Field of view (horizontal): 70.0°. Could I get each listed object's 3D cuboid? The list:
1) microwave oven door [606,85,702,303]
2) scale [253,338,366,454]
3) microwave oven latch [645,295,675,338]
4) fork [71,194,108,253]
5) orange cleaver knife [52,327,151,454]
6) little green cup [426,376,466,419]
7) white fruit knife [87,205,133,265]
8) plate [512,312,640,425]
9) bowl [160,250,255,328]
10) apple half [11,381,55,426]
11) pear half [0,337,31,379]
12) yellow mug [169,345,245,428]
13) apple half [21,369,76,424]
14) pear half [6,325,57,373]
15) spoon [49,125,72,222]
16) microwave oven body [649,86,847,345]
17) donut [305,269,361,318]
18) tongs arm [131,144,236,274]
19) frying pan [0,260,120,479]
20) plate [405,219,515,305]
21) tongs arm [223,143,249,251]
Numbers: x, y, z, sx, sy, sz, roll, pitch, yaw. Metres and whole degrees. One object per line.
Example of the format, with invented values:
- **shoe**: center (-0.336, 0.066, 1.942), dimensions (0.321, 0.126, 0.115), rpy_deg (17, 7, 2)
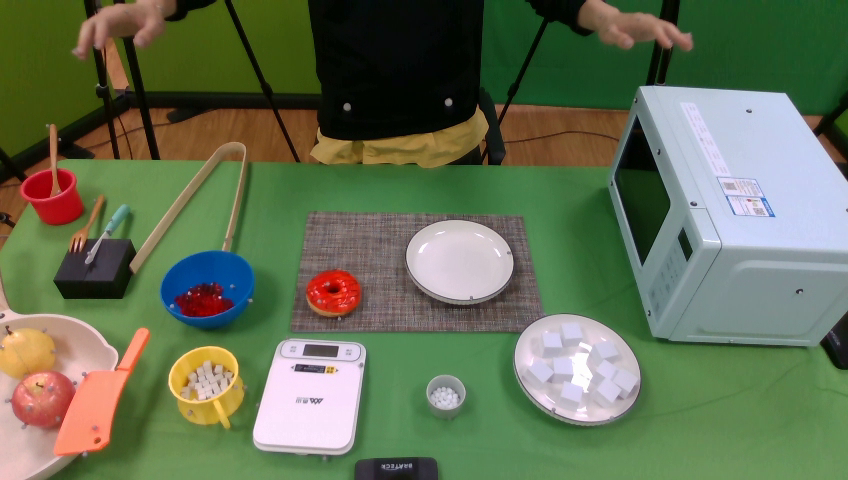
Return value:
- **microwave oven door**: center (0.422, -0.094, 1.140), dimensions (0.039, 0.245, 0.353), rpy_deg (2, 46, -1)
- **scale**: center (-0.175, 0.236, 0.951), dimensions (0.149, 0.032, 0.199), rpy_deg (4, 45, -1)
- **microwave oven latch**: center (0.411, 0.134, 1.061), dimensions (0.030, 0.029, 0.078), rpy_deg (3, 45, 0)
- **fork**: center (-0.634, -0.036, 1.158), dimensions (0.028, 0.019, 0.206), rpy_deg (-7, 31, -8)
- **orange cleaver knife**: center (-0.462, 0.212, 0.879), dimensions (0.077, 0.012, 0.210), rpy_deg (6, 45, -1)
- **little green cup**: center (0.033, 0.248, 0.950), dimensions (0.061, 0.039, 0.061), rpy_deg (2, 46, -2)
- **white fruit knife**: center (-0.584, -0.013, 1.129), dimensions (0.016, 0.027, 0.206), rpy_deg (0, 32, -5)
- **plate**: center (0.246, 0.213, 0.999), dimensions (0.208, 0.039, 0.206), rpy_deg (2, 46, -2)
- **bowl**: center (-0.362, 0.098, 1.040), dimensions (0.151, 0.077, 0.150), rpy_deg (2, 45, -2)
- **apple half**: center (-0.570, 0.246, 0.875), dimensions (0.081, 0.081, 0.033), rpy_deg (32, 49, 24)
- **pear half**: center (-0.630, 0.184, 0.922), dimensions (0.070, 0.088, 0.031), rpy_deg (29, 49, 18)
- **yellow mug**: center (-0.322, 0.230, 0.922), dimensions (0.100, 0.064, 0.130), rpy_deg (-24, 53, -25)
- **apple half**: center (-0.546, 0.226, 0.898), dimensions (0.080, 0.075, 0.053), rpy_deg (30, 48, 27)
- **pear half**: center (-0.607, 0.158, 0.935), dimensions (0.076, 0.110, 0.056), rpy_deg (31, 51, 19)
- **spoon**: center (-0.718, -0.131, 1.189), dimensions (0.041, 0.021, 0.193), rpy_deg (-4, 90, -6)
- **microwave oven body**: center (0.567, -0.053, 1.118), dimensions (0.326, 0.261, 0.439), rpy_deg (2, 45, -1)
- **donut**: center (-0.160, 0.094, 1.075), dimensions (0.099, 0.048, 0.098), rpy_deg (3, 46, -3)
- **tongs arm**: center (-0.483, -0.078, 1.236), dimensions (0.028, 0.028, 0.385), rpy_deg (6, 45, 13)
- **frying pan**: center (-0.647, 0.164, 0.936), dimensions (0.307, 0.103, 0.485), rpy_deg (-19, 58, -22)
- **plate**: center (0.067, 0.044, 1.144), dimensions (0.209, 0.038, 0.208), rpy_deg (2, 46, -2)
- **tongs arm**: center (-0.397, -0.073, 1.232), dimensions (0.051, 0.026, 0.382), rpy_deg (-2, 45, 0)
